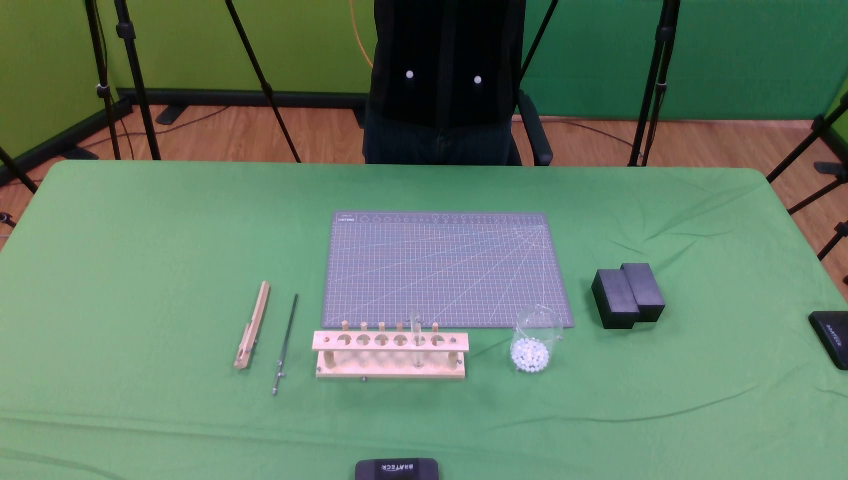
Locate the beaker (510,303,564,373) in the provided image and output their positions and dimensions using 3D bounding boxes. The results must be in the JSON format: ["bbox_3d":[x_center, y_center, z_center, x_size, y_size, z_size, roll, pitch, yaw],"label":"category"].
[{"bbox_3d":[0.182,0.164,1.000,0.074,0.101,0.083,2,45,-1],"label":"beaker"}]

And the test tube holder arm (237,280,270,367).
[{"bbox_3d":[-0.290,0.139,1.042,0.013,0.015,0.177,-17,42,22],"label":"test tube holder arm"}]

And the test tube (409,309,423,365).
[{"bbox_3d":[-0.012,0.153,0.937,0.017,0.151,0.017,-1,50,2],"label":"test tube"}]

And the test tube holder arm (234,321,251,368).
[{"bbox_3d":[-0.299,0.173,1.013,0.010,0.015,0.087,-16,42,22],"label":"test tube holder arm"}]

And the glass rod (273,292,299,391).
[{"bbox_3d":[-0.233,0.167,1.030,0.008,0.008,0.198,3,46,0],"label":"glass rod"}]

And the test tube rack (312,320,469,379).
[{"bbox_3d":[-0.054,0.173,0.984,0.242,0.085,0.066,1,46,-3],"label":"test tube rack"}]
